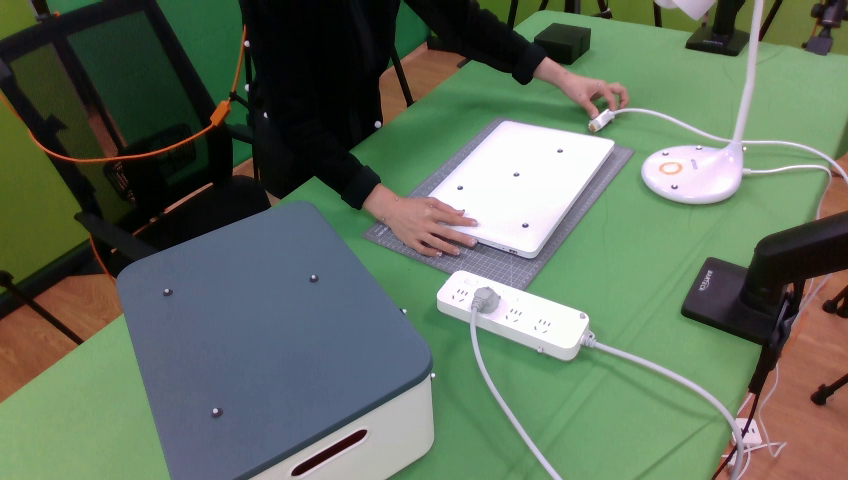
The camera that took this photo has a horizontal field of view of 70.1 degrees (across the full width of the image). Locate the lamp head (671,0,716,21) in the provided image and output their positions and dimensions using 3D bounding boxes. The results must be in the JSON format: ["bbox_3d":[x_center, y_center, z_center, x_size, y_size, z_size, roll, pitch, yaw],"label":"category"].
[{"bbox_3d":[0.375,-0.373,0.807,0.122,0.113,0.112,-40,27,32],"label":"lamp head"}]

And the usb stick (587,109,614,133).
[{"bbox_3d":[0.345,-0.232,1.192,0.059,0.021,0.027,-41,7,-24],"label":"usb stick"}]

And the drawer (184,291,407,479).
[{"bbox_3d":[-0.155,0.180,0.720,0.195,0.073,0.210,-27,40,-21],"label":"drawer"}]

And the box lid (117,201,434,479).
[{"bbox_3d":[-0.182,0.087,0.675,0.264,0.015,0.368,-25,42,-20],"label":"box lid"}]

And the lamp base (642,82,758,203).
[{"bbox_3d":[0.464,-0.174,0.992,0.179,0.181,0.159,-5,41,-1],"label":"lamp base"}]

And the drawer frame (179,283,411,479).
[{"bbox_3d":[-0.155,0.179,0.727,0.202,0.083,0.211,-28,49,-20],"label":"drawer frame"}]

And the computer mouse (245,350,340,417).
[{"bbox_3d":[-0.164,0.173,0.754,0.118,0.041,0.062,-18,33,-18],"label":"computer mouse"}]

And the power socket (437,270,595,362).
[{"bbox_3d":[0.119,0.101,0.832,0.225,0.033,0.072,19,48,27],"label":"power socket"}]

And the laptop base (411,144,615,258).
[{"bbox_3d":[0.167,-0.102,1.074,0.234,0.023,0.355,16,45,30],"label":"laptop base"}]

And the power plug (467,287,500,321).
[{"bbox_3d":[0.073,0.092,0.814,0.035,0.053,0.073,29,54,34],"label":"power plug"}]

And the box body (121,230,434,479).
[{"bbox_3d":[-0.175,0.142,0.725,0.255,0.161,0.360,-25,43,-20],"label":"box body"}]

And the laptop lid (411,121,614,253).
[{"bbox_3d":[0.164,-0.112,1.068,0.240,0.013,0.357,19,46,31],"label":"laptop lid"}]
